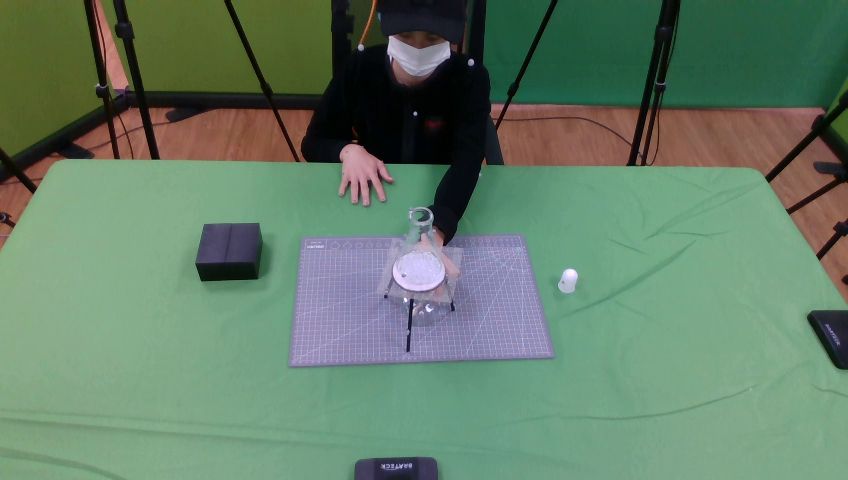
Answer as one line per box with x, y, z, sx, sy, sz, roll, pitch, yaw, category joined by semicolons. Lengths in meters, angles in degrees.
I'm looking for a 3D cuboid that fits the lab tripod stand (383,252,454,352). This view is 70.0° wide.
-0.015;0.094;1.025;0.148;0.132;0.147;1;46;-1;lab tripod stand

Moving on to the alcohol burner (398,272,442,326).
-0.005;0.094;1.040;0.078;0.119;0.077;3;48;-3;alcohol burner

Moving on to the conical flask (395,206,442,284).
-0.007;0.005;0.937;0.075;0.122;0.075;2;45;-1;conical flask

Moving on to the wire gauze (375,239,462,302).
-0.006;0.049;0.977;0.121;0.011;0.124;10;44;5;wire gauze

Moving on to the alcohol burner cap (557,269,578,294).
0.270;0.075;1.135;0.034;0.048;0.033;3;46;-2;alcohol burner cap
